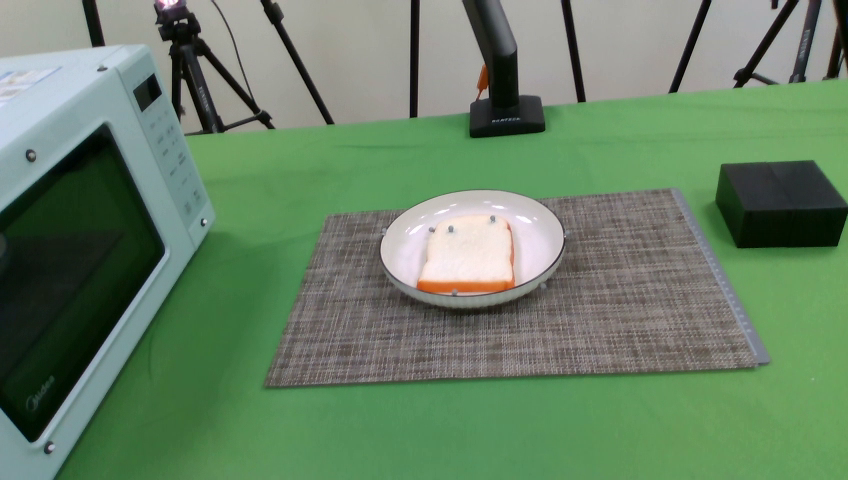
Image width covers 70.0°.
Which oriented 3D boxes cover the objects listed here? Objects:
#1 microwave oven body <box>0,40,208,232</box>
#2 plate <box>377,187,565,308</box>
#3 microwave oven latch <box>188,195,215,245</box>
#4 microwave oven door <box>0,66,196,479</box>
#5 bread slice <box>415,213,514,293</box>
[{"bbox_3d":[-0.470,0.010,0.605,0.326,0.262,0.437,-3,37,7],"label":"microwave oven body"},{"bbox_3d":[0.052,0.009,0.685,0.209,0.038,0.207,-6,36,5],"label":"plate"},{"bbox_3d":[-0.298,-0.025,0.785,0.030,0.030,0.078,-3,37,8],"label":"microwave oven latch"},{"bbox_3d":[-0.329,0.021,0.550,0.039,0.246,0.352,-4,36,8],"label":"microwave oven door"},{"bbox_3d":[0.049,0.011,0.686,0.105,0.019,0.130,-2,37,9],"label":"bread slice"}]
